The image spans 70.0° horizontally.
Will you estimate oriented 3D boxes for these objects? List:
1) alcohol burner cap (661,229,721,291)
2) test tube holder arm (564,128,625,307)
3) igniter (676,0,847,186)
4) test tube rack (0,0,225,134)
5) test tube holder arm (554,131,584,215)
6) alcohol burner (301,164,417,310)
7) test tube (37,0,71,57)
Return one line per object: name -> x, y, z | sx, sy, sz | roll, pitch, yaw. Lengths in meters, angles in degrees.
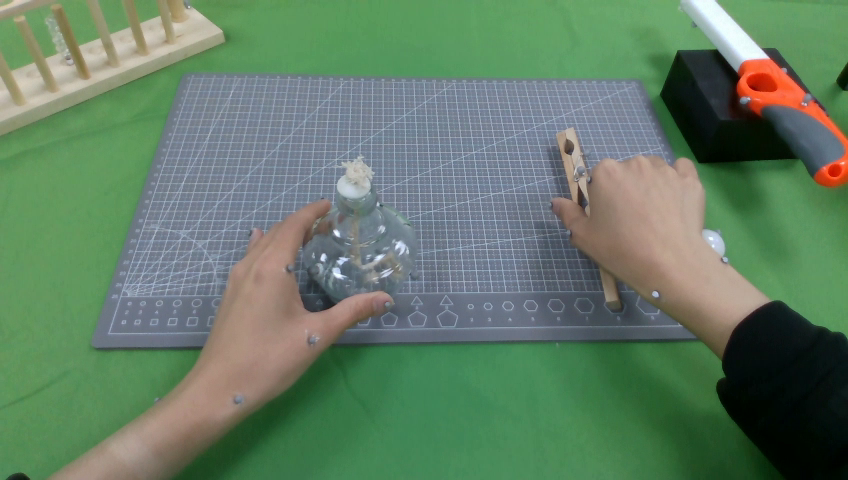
alcohol burner cap -> 0.198, 0.012, 0.444 | 0.034, 0.048, 0.033 | 2, 51, -2
test tube holder arm -> 0.133, -0.025, 0.483 | 0.013, 0.015, 0.176 | -24, 48, 22
igniter -> 0.291, -0.145, 0.530 | 0.057, 0.025, 0.273 | -6, 49, -5
test tube rack -> -0.311, -0.187, 0.547 | 0.242, 0.086, 0.066 | -35, 61, -27
test tube holder arm -> 0.125, -0.058, 0.513 | 0.010, 0.015, 0.087 | -23, 48, 23
alcohol burner -> -0.043, -0.006, 0.396 | 0.078, 0.120, 0.077 | 1, 52, -1
test tube -> -0.329, -0.224, 0.511 | 0.017, 0.151, 0.017 | 3, 48, -3
